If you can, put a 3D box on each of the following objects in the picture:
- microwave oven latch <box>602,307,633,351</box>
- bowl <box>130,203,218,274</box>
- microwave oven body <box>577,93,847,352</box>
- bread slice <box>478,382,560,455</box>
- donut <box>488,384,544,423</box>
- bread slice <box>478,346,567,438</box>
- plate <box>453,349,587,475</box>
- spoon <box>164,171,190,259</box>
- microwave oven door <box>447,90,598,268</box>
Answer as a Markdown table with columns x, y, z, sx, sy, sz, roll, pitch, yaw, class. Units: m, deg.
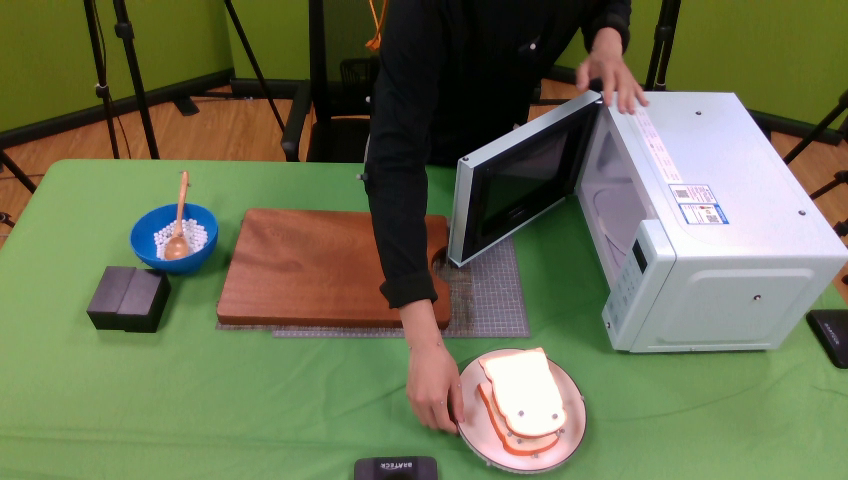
| x | y | z | sx | sy | sz | roll | pitch | yaw | class |
| --- | --- | --- | --- | --- | --- | --- | --- | --- | --- |
| 0.332 | 0.152 | 1.044 | 0.030 | 0.029 | 0.078 | 0 | 45 | -4 | microwave oven latch |
| -0.451 | 0.010 | 1.116 | 0.151 | 0.077 | 0.150 | 3 | 45 | -3 | bowl |
| 0.475 | -0.042 | 1.109 | 0.326 | 0.261 | 0.438 | -1 | 45 | -4 | microwave oven body |
| 0.154 | 0.268 | 0.943 | 0.105 | 0.019 | 0.130 | -10 | 47 | -12 | bread slice |
| 0.147 | 0.241 | 0.927 | 0.099 | 0.048 | 0.098 | -3 | 41 | 3 | donut |
| 0.152 | 0.227 | 0.901 | 0.107 | 0.018 | 0.133 | -11 | 54 | -16 | bread slice |
| 0.147 | 0.267 | 0.943 | 0.208 | 0.039 | 0.206 | 3 | 46 | -2 | plate |
| -0.452 | -0.046 | 1.129 | 0.041 | 0.022 | 0.193 | -1 | 69 | -3 | spoon |
| 0.192 | -0.120 | 1.157 | 0.356 | 0.245 | 0.039 | -31 | 55 | -30 | microwave oven door |
